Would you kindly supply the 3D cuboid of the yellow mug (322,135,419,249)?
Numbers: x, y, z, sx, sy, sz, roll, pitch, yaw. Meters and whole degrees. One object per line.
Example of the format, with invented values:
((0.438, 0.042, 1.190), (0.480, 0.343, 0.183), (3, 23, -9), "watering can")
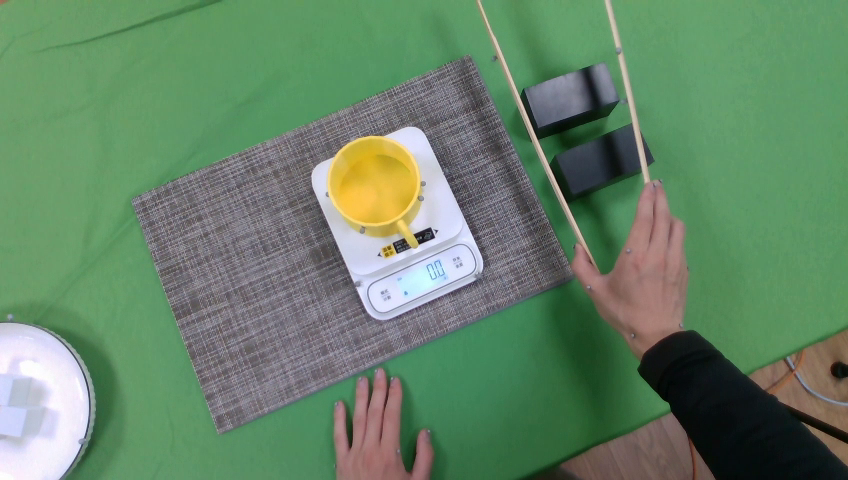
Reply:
((-0.048, -0.045, 0.664), (0.100, 0.064, 0.130), (-34, 84, -4), "yellow mug")

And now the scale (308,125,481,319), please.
((-0.035, -0.023, 0.708), (0.149, 0.031, 0.200), (-24, 83, -2), "scale")

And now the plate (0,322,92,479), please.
((-0.476, 0.198, 0.687), (0.208, 0.039, 0.207), (0, 82, 1), "plate")

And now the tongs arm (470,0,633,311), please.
((0.133, -0.096, 0.661), (0.028, 0.028, 0.386), (-25, 86, 9), "tongs arm")

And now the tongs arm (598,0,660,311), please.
((0.199, -0.118, 0.643), (0.050, 0.026, 0.384), (-14, 89, 13), "tongs arm")
